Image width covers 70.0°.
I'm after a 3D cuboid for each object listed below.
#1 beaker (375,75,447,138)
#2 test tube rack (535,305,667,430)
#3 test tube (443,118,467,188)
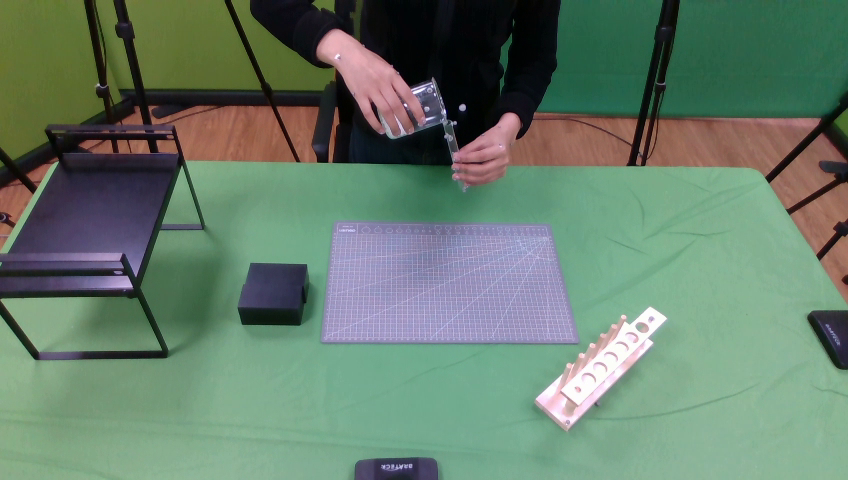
[{"bbox_3d":[-0.020,-0.208,0.966,0.100,0.084,0.073,-16,41,9],"label":"beaker"},{"bbox_3d":[0.290,0.193,0.984,0.242,0.085,0.066,-32,57,-30],"label":"test tube rack"},{"bbox_3d":[0.054,-0.145,1.038,0.017,0.151,0.017,-9,46,10],"label":"test tube"}]
